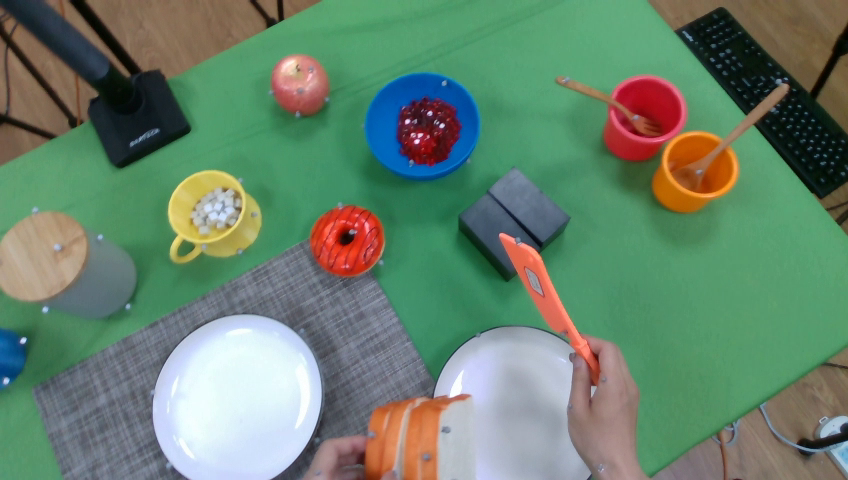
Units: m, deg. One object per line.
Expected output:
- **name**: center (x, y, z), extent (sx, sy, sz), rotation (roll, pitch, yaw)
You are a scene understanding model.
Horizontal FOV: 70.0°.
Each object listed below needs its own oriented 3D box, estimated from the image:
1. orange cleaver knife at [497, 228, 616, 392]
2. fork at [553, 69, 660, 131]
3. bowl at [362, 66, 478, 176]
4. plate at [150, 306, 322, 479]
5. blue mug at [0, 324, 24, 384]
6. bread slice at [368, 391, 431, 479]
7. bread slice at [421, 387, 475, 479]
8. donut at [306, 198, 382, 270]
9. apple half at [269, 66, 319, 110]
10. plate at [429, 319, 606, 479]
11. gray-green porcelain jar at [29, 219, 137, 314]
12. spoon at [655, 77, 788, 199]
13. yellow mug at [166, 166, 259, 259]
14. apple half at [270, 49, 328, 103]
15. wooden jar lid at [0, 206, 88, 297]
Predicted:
- **orange cleaver knife**: center (0.140, 0.075, 0.645), extent (0.012, 0.077, 0.212), rotation (-37, 106, -13)
- **fork**: center (0.238, -0.178, 0.774), extent (0.209, 0.018, 0.028), rotation (15, 67, -37)
- **bowl**: center (-0.003, -0.146, 0.812), extent (0.151, 0.077, 0.150), rotation (-1, 74, 3)
- **plate**: center (-0.225, 0.186, 0.740), extent (0.207, 0.039, 0.206), rotation (-1, 73, 3)
- **blue mug**: center (-0.573, 0.148, 0.736), extent (0.082, 0.106, 0.116), rotation (32, 77, 12)
- **bread slice**: center (-0.020, 0.205, 0.611), extent (0.018, 0.135, 0.106), rotation (-8, 72, 20)
- **bread slice**: center (0.026, 0.201, 0.591), extent (0.019, 0.132, 0.104), rotation (-5, 79, 18)
- **donut**: center (-0.104, -0.007, 0.789), extent (0.099, 0.048, 0.098), rotation (-1, 74, 2)
- **apple half**: center (-0.184, -0.200, 0.838), extent (0.081, 0.082, 0.032), rotation (24, 71, 10)
- **plate**: center (0.109, 0.199, 0.723), extent (0.209, 0.038, 0.208), rotation (-1, 73, 3)
- **gray-green porcelain jar**: center (-0.432, 0.034, 0.753), extent (0.106, 0.127, 0.105), rotation (-1, 73, 3)
- **spoon**: center (0.366, -0.123, 0.750), extent (0.022, 0.194, 0.041), rotation (-17, 64, -50)
- **yellow mug**: center (-0.286, -0.028, 0.797), extent (0.099, 0.064, 0.130), rotation (35, 79, 12)
- **apple half**: center (-0.168, -0.233, 0.849), extent (0.080, 0.075, 0.053), rotation (24, 70, 14)
- **wooden jar lid**: center (-0.436, 0.014, 0.694), extent (0.108, 0.021, 0.107), rotation (-1, 72, 4)
